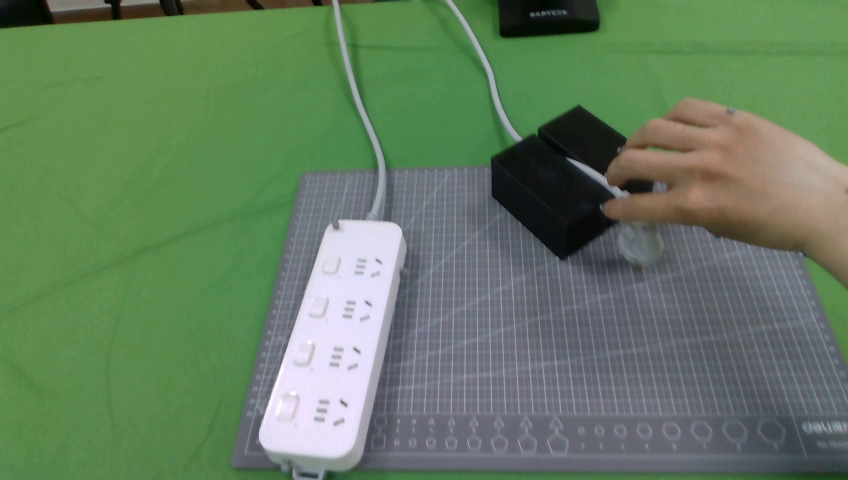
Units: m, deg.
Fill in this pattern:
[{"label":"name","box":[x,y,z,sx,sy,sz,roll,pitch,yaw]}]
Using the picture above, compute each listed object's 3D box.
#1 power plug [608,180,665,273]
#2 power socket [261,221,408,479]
[{"label":"power plug","box":[0.175,-0.010,0.504,0.035,0.053,0.072,-5,53,-3]},{"label":"power socket","box":[-0.065,0.073,0.483,0.072,0.033,0.225,5,52,9]}]
